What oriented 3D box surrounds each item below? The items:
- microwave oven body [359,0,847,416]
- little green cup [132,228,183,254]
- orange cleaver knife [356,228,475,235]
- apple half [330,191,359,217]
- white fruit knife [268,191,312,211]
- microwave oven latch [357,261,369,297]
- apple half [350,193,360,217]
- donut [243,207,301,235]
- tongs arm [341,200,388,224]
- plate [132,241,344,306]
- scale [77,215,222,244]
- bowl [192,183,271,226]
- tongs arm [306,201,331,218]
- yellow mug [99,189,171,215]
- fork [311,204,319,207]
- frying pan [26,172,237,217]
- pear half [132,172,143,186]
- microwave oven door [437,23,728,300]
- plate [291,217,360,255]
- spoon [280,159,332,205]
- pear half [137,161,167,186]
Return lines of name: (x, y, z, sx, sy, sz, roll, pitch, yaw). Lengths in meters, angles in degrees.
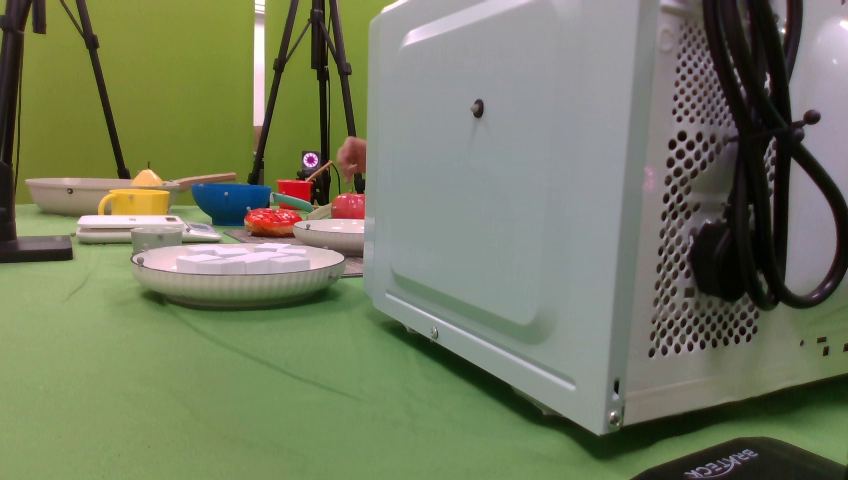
microwave oven body: (0.211, -0.047, 0.474, 0.444, 0.260, 0.324, -1, 7, -28)
little green cup: (-0.342, 0.006, 0.779, 0.061, 0.038, 0.061, 2, 8, 0)
orange cleaver knife: (-0.017, -0.015, 1.080, 0.211, 0.012, 0.077, 0, 2, -2)
apple half: (-0.149, -0.055, 1.142, 0.053, 0.074, 0.081, 1, 11, 14)
white fruit knife: (-0.364, -0.105, 1.464, 0.208, 0.027, 0.016, 15, 0, -34)
microwave oven latch: (-0.019, 0.033, 0.530, 0.079, 0.029, 0.030, -1, 7, -26)
apple half: (-0.111, -0.053, 1.133, 0.033, 0.081, 0.081, 0, 7, 15)
donut: (-0.261, -0.032, 1.043, 0.099, 0.048, 0.099, 4, 9, 0)
tongs arm: (-0.148, -0.070, 1.429, 0.051, 0.026, 0.383, -3, 8, -15)
plate: (-0.187, 0.033, 0.625, 0.208, 0.039, 0.207, 2, 7, 0)
scale: (-0.434, -0.019, 0.963, 0.202, 0.031, 0.148, -1, 9, -27)
bowl: (-0.382, -0.071, 1.202, 0.151, 0.077, 0.151, 3, 7, 0)
tongs arm: (-0.234, -0.069, 1.414, 0.028, 0.028, 0.387, -5, 7, 1)
yellow mug: (-0.519, -0.055, 1.080, 0.099, 0.064, 0.131, 7, 9, 26)
fork: (-0.356, -0.105, 1.526, 0.208, 0.018, 0.028, 16, -5, -41)
frying pan: (-0.624, -0.118, 1.387, 0.305, 0.102, 0.490, 8, 17, 32)
pear half: (-0.638, -0.113, 1.361, 0.031, 0.088, 0.070, 5, 10, 4)
microwave oven door: (0.180, -0.073, 0.621, 0.358, 0.243, 0.039, -2, 8, -29)
plate: (-0.098, -0.007, 0.928, 0.209, 0.038, 0.209, 3, 8, 0)
spoon: (-0.316, -0.159, 1.640, 0.194, 0.022, 0.041, -50, 31, -20)
pear half: (-0.602, -0.120, 1.354, 0.056, 0.110, 0.076, 4, 11, 6)
